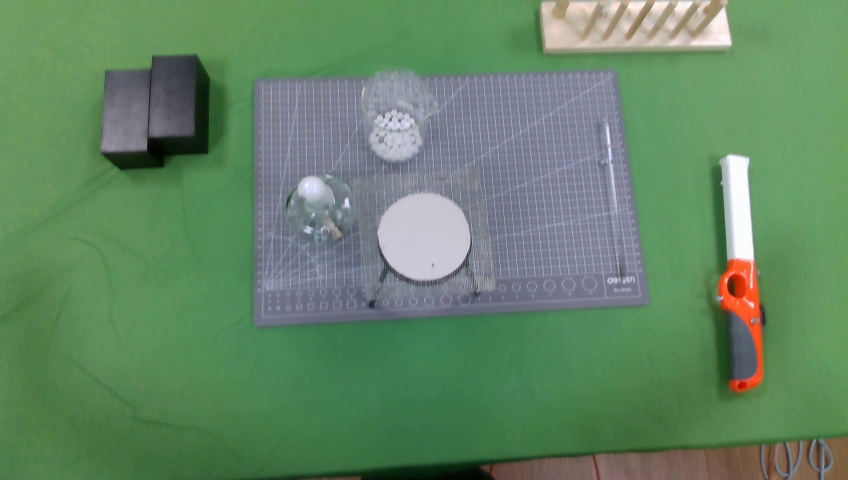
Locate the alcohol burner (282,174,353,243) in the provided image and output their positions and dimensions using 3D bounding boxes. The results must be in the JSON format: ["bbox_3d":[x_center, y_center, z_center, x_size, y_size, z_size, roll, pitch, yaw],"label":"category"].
[{"bbox_3d":[-0.116,-0.039,0.648,0.078,0.119,0.077,1,73,-2],"label":"alcohol burner"}]

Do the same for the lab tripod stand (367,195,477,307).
[{"bbox_3d":[-0.006,0.012,0.632,0.148,0.132,0.147,0,75,-1],"label":"lab tripod stand"}]

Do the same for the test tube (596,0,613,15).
[{"bbox_3d":[0.232,-0.311,0.703,0.017,0.150,0.017,2,74,-8],"label":"test tube"}]

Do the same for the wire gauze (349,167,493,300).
[{"bbox_3d":[-0.003,-0.008,0.568,0.125,0.011,0.121,-6,75,-5],"label":"wire gauze"}]

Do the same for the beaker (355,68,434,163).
[{"bbox_3d":[-0.033,-0.135,0.684,0.084,0.100,0.073,6,76,-2],"label":"beaker"}]

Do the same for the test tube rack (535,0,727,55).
[{"bbox_3d":[0.269,-0.284,0.749,0.242,0.085,0.066,-3,76,-4],"label":"test tube rack"}]

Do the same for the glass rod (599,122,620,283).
[{"bbox_3d":[0.222,-0.047,0.725,0.008,0.008,0.199,-2,79,-4],"label":"glass rod"}]

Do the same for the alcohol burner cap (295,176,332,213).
[{"bbox_3d":[-0.114,-0.047,0.613,0.034,0.048,0.033,0,80,3],"label":"alcohol burner cap"}]

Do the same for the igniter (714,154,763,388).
[{"bbox_3d":[0.364,0.032,0.707,0.057,0.025,0.275,7,76,-12],"label":"igniter"}]
